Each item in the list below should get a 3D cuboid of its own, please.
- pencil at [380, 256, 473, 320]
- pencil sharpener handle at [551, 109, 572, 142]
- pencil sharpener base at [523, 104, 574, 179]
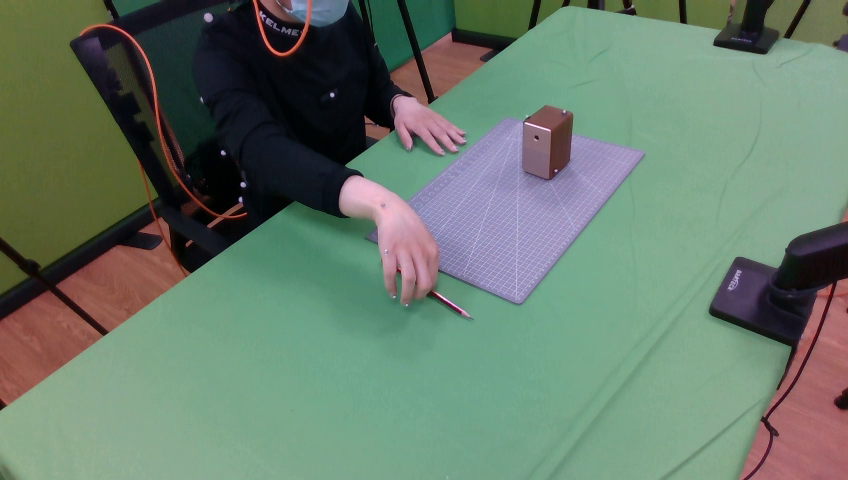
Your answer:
[{"bbox_3d":[0.001,0.070,0.897,0.012,0.012,0.192,-35,50,-29],"label":"pencil"},{"bbox_3d":[0.253,-0.211,1.090,0.035,0.068,0.031,22,48,36],"label":"pencil sharpener handle"},{"bbox_3d":[0.220,-0.175,1.071,0.061,0.107,0.077,25,50,33],"label":"pencil sharpener base"}]
